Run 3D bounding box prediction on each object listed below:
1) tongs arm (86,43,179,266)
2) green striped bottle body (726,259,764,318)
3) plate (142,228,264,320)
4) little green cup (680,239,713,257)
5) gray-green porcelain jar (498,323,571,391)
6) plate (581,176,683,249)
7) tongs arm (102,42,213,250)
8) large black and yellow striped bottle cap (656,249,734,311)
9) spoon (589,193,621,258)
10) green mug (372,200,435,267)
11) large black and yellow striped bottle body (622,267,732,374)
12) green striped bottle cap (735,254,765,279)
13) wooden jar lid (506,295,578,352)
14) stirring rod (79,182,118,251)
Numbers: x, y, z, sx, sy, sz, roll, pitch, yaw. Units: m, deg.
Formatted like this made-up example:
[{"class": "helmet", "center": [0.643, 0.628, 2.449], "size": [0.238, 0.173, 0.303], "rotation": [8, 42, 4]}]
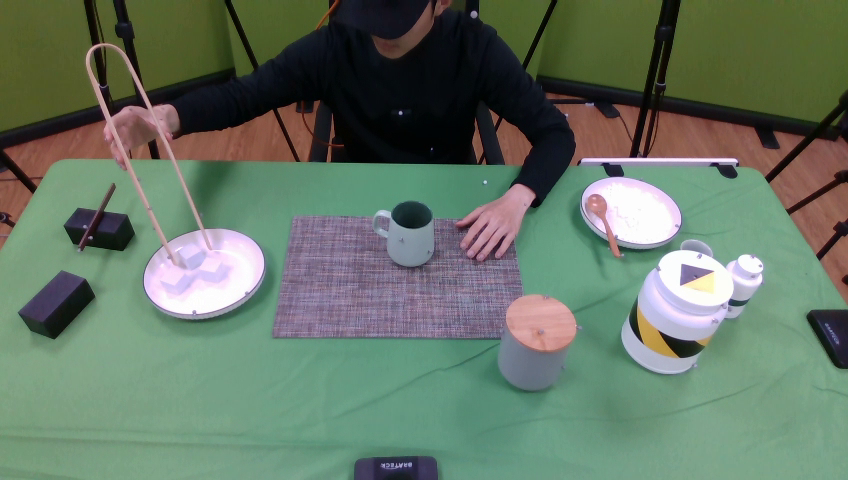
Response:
[{"class": "tongs arm", "center": [-0.480, -0.133, 1.027], "size": [0.051, 0.386, 0.026], "rotation": [-29, 29, -25]}, {"class": "green striped bottle body", "center": [0.563, 0.081, 1.089], "size": [0.063, 0.120, 0.063], "rotation": [2, 46, -2]}, {"class": "plate", "center": [-0.394, 0.064, 1.095], "size": [0.208, 0.039, 0.206], "rotation": [2, 46, -2]}, {"class": "little green cup", "center": [0.530, 0.033, 1.189], "size": [0.061, 0.039, 0.061], "rotation": [2, 48, -2]}, {"class": "gray-green porcelain jar", "center": [0.176, 0.172, 0.971], "size": [0.106, 0.127, 0.105], "rotation": [2, 46, -2]}, {"class": "plate", "center": [0.430, -0.054, 1.267], "size": [0.209, 0.038, 0.208], "rotation": [2, 46, -2]}, {"class": "tongs arm", "center": [-0.448, -0.149, 1.045], "size": [0.028, 0.389, 0.027], "rotation": [-28, 28, -22]}, {"class": "large black and yellow striped bottle cap", "center": [0.419, 0.061, 0.938], "size": [0.115, 0.019, 0.114], "rotation": [2, 47, -2]}, {"class": "spoon", "center": [0.367, -0.032, 1.220], "size": [0.041, 0.022, 0.192], "rotation": [1, 38, -1]}, {"class": "green mug", "center": [-0.040, -0.016, 1.146], "size": [0.125, 0.105, 0.092], "rotation": [17, 48, 13]}, {"class": "large black and yellow striped bottle body", "center": [0.415, 0.119, 0.997], "size": [0.131, 0.185, 0.130], "rotation": [2, 46, -2]}, {"class": "green striped bottle cap", "center": [0.566, 0.046, 1.051], "size": [0.044, 0.020, 0.044], "rotation": [0, 45, 0]}, {"class": "wooden jar lid", "center": [0.179, 0.130, 0.925], "size": [0.108, 0.021, 0.107], "rotation": [2, 43, -2]}, {"class": "stirring rod", "center": [-0.605, -0.046, 1.131], "size": [0.006, 0.014, 0.175], "rotation": [0, 47, 1]}]
